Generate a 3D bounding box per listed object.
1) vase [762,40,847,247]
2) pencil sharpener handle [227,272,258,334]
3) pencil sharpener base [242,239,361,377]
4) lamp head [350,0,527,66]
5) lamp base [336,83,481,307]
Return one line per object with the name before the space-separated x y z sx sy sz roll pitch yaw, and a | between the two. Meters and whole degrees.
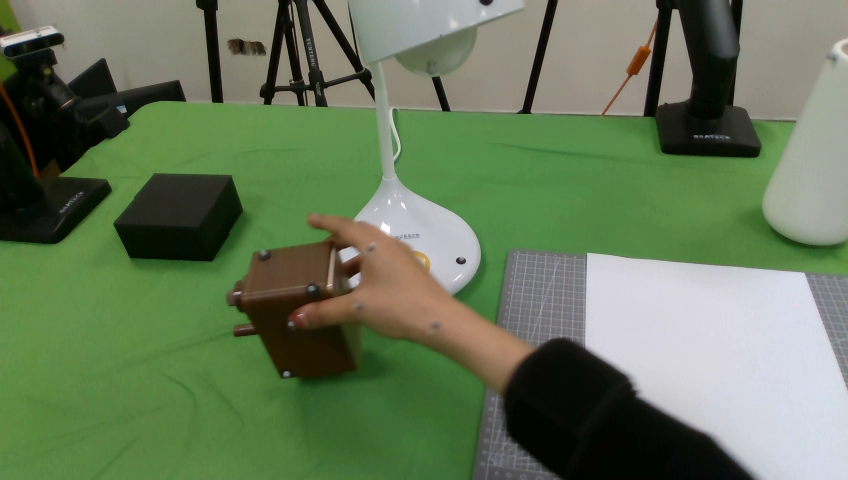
vase | 0.409 -0.091 0.601 0.098 0.202 0.097 -3 38 3
pencil sharpener handle | -0.153 0.057 0.506 0.030 0.068 0.035 -8 46 3
pencil sharpener base | -0.101 0.060 0.511 0.076 0.108 0.060 -8 42 3
lamp head | -0.005 -0.185 0.387 0.112 0.123 0.112 -20 12 5
lamp base | -0.028 -0.053 0.612 0.161 0.182 0.177 -15 38 -13
